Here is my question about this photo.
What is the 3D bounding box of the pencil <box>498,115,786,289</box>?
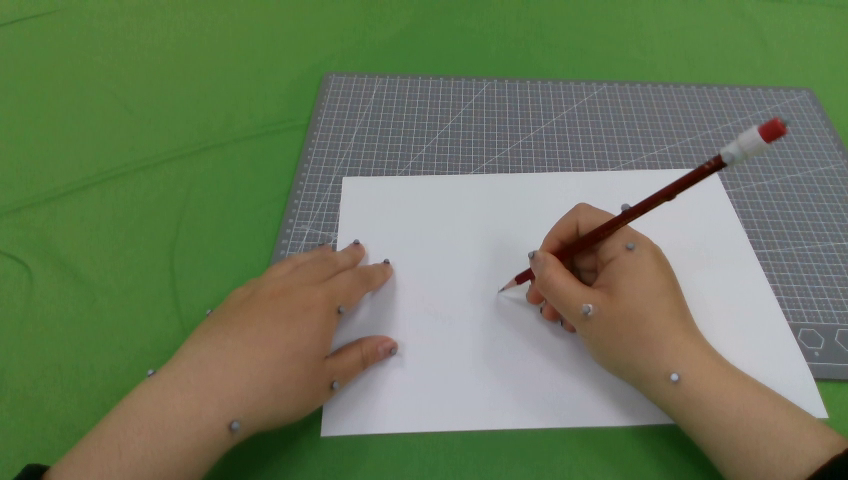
[{"bbox_3d":[0.106,-0.010,0.339,0.012,0.194,0.012,21,52,-29],"label":"pencil"}]
